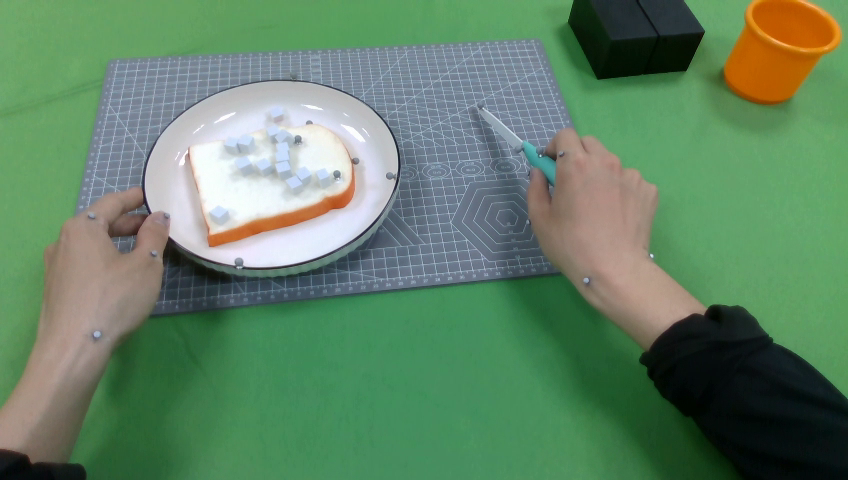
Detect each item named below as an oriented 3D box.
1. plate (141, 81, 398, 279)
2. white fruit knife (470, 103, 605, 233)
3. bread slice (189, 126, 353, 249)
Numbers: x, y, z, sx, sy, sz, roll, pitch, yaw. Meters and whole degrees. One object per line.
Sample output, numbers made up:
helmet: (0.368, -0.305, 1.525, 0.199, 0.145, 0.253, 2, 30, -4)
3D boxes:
plate: (-0.126, -0.052, 0.514, 0.209, 0.038, 0.207, 2, 56, -3)
white fruit knife: (0.090, -0.074, 0.529, 0.016, 0.028, 0.205, -28, 45, -9)
bread slice: (-0.129, -0.054, 0.518, 0.132, 0.019, 0.104, -19, 59, -15)
